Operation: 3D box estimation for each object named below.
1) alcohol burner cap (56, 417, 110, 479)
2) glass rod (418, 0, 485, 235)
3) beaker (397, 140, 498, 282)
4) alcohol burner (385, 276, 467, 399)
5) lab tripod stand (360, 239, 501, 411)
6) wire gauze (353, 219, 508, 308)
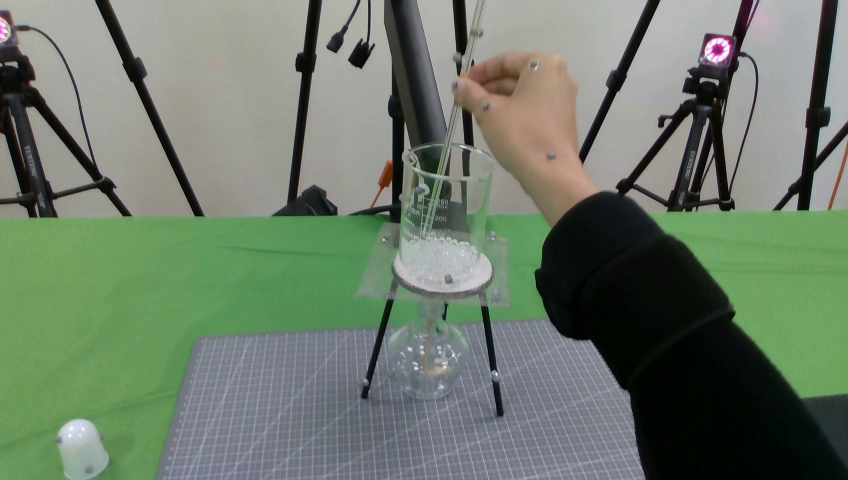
[{"bbox_3d":[-0.269,0.161,0.474,0.034,0.048,0.033,2,30,-1],"label":"alcohol burner cap"},{"bbox_3d":[0.019,-0.088,0.459,0.008,0.201,0.008,10,32,-6],"label":"glass rod"},{"bbox_3d":[0.013,-0.023,0.498,0.083,0.101,0.074,27,36,33],"label":"beaker"},{"bbox_3d":[0.003,0.086,0.557,0.078,0.120,0.077,2,28,-1],"label":"alcohol burner"},{"bbox_3d":[0.015,0.077,0.554,0.148,0.132,0.147,5,29,-2],"label":"lab tripod stand"},{"bbox_3d":[0.011,0.020,0.521,0.121,0.011,0.124,6,32,4],"label":"wire gauze"}]
